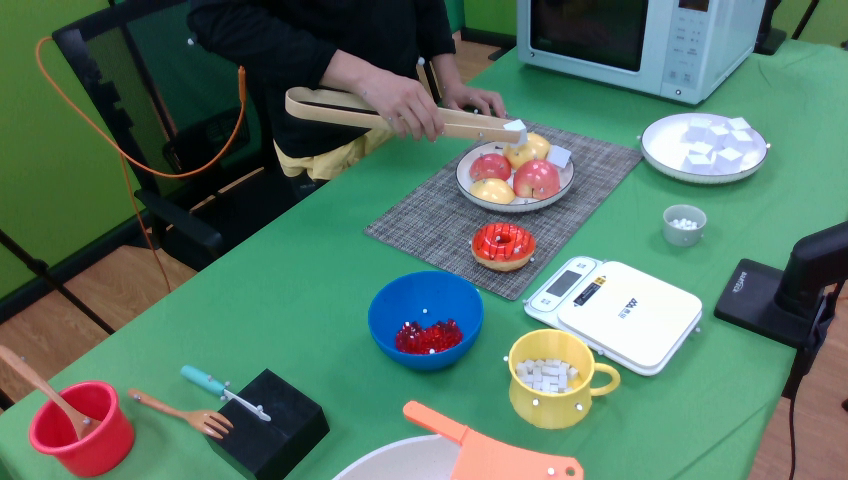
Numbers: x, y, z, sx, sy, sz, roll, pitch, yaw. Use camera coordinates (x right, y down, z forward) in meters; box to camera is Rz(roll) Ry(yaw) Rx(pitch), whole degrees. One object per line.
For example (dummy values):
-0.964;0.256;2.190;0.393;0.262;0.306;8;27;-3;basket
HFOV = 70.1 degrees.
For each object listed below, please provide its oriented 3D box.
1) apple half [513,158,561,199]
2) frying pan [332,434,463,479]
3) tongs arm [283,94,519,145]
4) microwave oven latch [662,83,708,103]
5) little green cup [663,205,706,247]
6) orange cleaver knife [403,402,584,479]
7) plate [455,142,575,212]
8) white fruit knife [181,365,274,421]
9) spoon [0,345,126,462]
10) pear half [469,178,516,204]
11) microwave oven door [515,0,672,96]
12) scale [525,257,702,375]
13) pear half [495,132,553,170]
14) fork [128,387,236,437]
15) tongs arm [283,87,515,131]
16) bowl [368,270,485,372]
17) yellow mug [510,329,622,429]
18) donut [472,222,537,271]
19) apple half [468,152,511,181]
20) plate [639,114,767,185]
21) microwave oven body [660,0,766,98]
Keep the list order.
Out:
0.194;-0.111;1.031;0.080;0.053;0.075;11;41;26;apple half
-0.089;0.306;0.564;0.487;0.103;0.306;10;41;7;frying pan
-0.033;-0.192;0.982;0.389;0.028;0.028;6;44;-9;tongs arm
0.517;-0.296;1.204;0.078;0.029;0.030;27;52;35;microwave oven latch
0.396;-0.020;0.926;0.061;0.039;0.061;-4;40;4;little green cup
0.062;0.222;0.609;0.210;0.012;0.077;15;48;25;orange cleaver knife
0.159;-0.111;1.063;0.209;0.038;0.208;-4;40;4;plate
-0.245;0.187;0.747;0.205;0.027;0.016;9;42;40;white fruit knife
-0.434;0.192;0.720;0.194;0.021;0.042;47;53;-6;spoon
0.115;-0.090;1.035;0.087;0.031;0.071;27;38;32;pear half
0.343;-0.454;1.259;0.353;0.245;0.039;26;51;33;microwave oven door
0.254;0.091;0.821;0.199;0.032;0.149;27;51;35;scale
0.174;-0.168;1.094;0.109;0.056;0.076;16;54;29;pear half
-0.305;0.207;0.744;0.206;0.019;0.028;3;41;36;fork
-0.034;-0.208;1.001;0.386;0.026;0.050;9;41;-7;tongs arm
0.007;0.118;0.791;0.151;0.077;0.150;-5;39;4;bowl
0.168;0.164;0.721;0.130;0.064;0.099;0;40;8;yellow mug
0.123;0.008;0.923;0.099;0.048;0.098;-3;38;3;donut
0.120;-0.139;1.089;0.081;0.033;0.081;1;46;-1;apple half
0.489;-0.157;1.074;0.207;0.039;0.206;-4;40;4;plate
0.472;-0.513;1.317;0.438;0.261;0.327;26;51;34;microwave oven body
